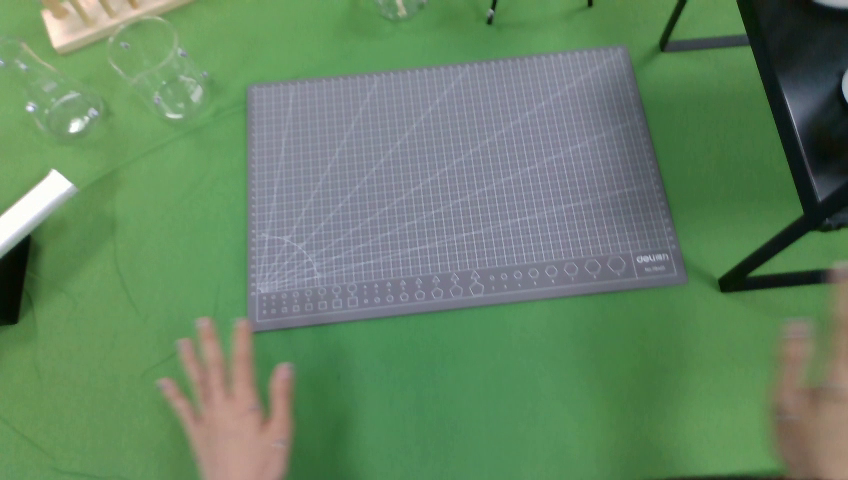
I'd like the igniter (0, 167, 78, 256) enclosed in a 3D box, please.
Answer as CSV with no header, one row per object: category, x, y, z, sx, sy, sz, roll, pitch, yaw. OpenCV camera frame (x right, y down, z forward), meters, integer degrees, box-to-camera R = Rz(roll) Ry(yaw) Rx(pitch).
igniter,-0.455,0.034,0.583,0.057,0.025,0.276,37,72,12

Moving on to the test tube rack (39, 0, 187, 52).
test tube rack,-0.357,-0.324,0.729,0.242,0.086,0.066,-26,71,-8

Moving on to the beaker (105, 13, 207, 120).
beaker,-0.291,-0.184,0.670,0.074,0.101,0.083,8,71,6

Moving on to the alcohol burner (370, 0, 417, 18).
alcohol burner,-0.038,-0.319,0.703,0.078,0.120,0.077,0,68,1

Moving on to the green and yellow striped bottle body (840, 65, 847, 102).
green and yellow striped bottle body,0.362,-0.142,0.430,0.063,0.120,0.062,-1,69,2

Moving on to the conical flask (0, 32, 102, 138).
conical flask,-0.416,-0.171,0.656,0.075,0.122,0.075,-1,69,2

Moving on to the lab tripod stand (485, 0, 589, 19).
lab tripod stand,0.131,-0.336,0.693,0.148,0.132,0.147,0,68,1

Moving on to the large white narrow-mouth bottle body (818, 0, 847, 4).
large white narrow-mouth bottle body,0.352,-0.274,0.440,0.102,0.196,0.101,0,71,1
